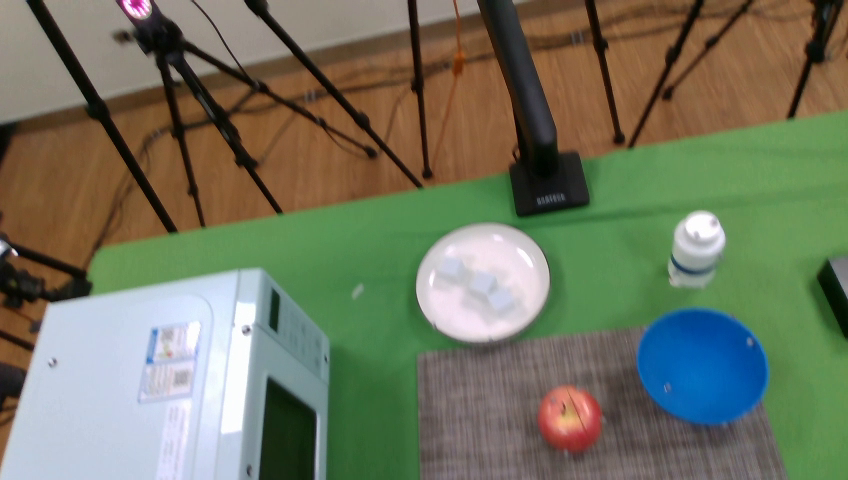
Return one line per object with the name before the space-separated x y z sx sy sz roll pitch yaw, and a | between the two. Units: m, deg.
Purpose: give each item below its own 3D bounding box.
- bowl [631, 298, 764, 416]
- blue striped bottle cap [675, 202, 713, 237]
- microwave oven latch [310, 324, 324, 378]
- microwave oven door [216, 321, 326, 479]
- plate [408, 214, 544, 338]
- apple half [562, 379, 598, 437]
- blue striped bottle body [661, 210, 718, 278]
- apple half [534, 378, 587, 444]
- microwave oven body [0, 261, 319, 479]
bowl | 0.340 0.157 0.771 0.151 0.077 0.150 -7 59 12
blue striped bottle cap | 0.354 -0.027 0.794 0.044 0.021 0.044 -6 58 9
microwave oven latch | -0.165 0.167 0.906 0.030 0.030 0.078 -10 59 9
microwave oven door | -0.173 0.301 0.708 0.039 0.246 0.352 -11 58 9
plate | 0.080 0.056 0.929 0.207 0.039 0.206 -6 59 11
apple half | 0.205 0.212 0.777 0.033 0.082 0.080 -23 57 4
blue striped bottle body | 0.366 -0.001 0.836 0.063 0.122 0.062 -7 59 11
apple half | 0.170 0.226 0.779 0.053 0.075 0.080 -24 60 6
microwave oven body | -0.317 0.295 0.755 0.326 0.263 0.437 -11 59 8
